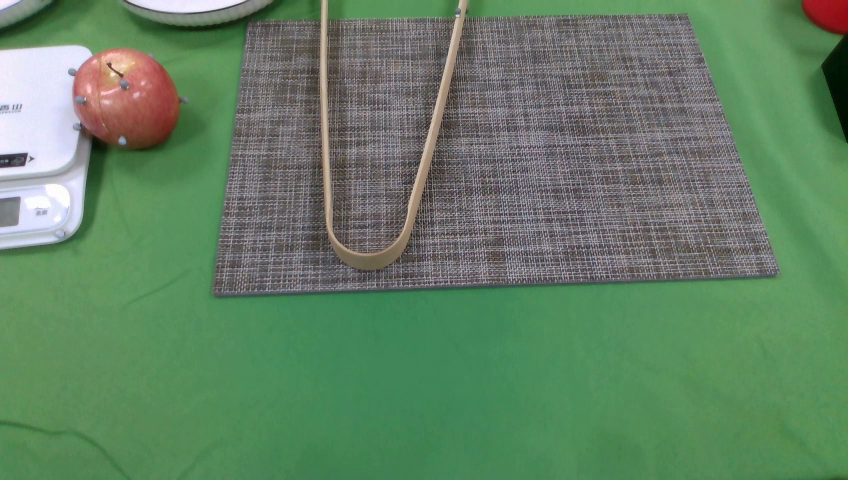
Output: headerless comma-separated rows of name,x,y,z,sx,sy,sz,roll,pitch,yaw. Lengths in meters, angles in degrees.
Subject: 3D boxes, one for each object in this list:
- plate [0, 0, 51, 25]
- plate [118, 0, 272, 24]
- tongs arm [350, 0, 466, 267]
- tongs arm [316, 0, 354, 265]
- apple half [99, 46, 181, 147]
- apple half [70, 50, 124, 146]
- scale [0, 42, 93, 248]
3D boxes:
plate,-0.451,-0.284,0.619,0.208,0.039,0.206,1,62,-1
plate,-0.226,-0.295,0.631,0.209,0.038,0.207,1,61,-1
tongs arm,-0.001,-0.148,0.556,0.051,0.027,0.382,9,62,3
tongs arm,-0.086,-0.153,0.559,0.028,0.028,0.384,-2,62,-7
apple half,-0.237,-0.121,0.516,0.053,0.075,0.080,-10,58,-9
apple half,-0.275,-0.114,0.510,0.033,0.082,0.080,-10,62,-10
scale,-0.361,-0.084,0.516,0.149,0.032,0.199,-6,62,-5
